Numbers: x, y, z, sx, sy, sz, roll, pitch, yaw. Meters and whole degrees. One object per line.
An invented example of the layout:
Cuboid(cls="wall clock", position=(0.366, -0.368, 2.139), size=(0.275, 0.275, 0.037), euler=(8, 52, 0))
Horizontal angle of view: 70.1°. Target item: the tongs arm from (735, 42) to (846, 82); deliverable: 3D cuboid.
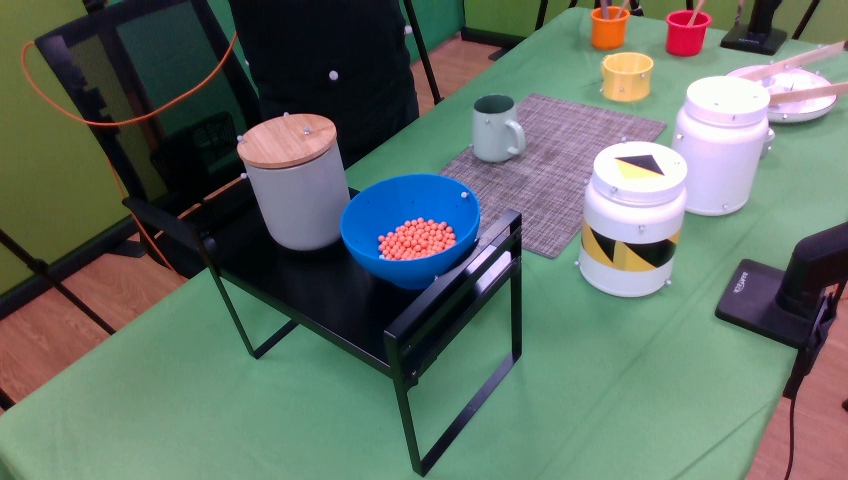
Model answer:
Cuboid(cls="tongs arm", position=(0.708, -0.331, 1.193), size=(0.386, 0.026, 0.050), euler=(-18, 45, -15))

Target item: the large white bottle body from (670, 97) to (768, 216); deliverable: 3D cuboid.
Cuboid(cls="large white bottle body", position=(0.458, -0.146, 0.952), size=(0.130, 0.185, 0.130), euler=(-4, 40, 4))

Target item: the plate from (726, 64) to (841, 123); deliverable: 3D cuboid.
Cuboid(cls="plate", position=(0.694, -0.282, 1.189), size=(0.207, 0.039, 0.206), euler=(-4, 40, 4))

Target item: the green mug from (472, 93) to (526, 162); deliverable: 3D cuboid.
Cuboid(cls="green mug", position=(0.144, -0.202, 1.122), size=(0.093, 0.105, 0.124), euler=(-29, 45, -23))

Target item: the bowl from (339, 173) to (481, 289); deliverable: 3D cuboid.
Cuboid(cls="bowl", position=(-0.011, 0.001, 0.660), size=(0.151, 0.077, 0.150), euler=(-5, 41, 5))

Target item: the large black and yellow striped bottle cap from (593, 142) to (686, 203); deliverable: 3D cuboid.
Cuboid(cls="large black and yellow striped bottle cap", position=(0.280, -0.090, 0.786), size=(0.115, 0.019, 0.114), euler=(-5, 41, 5))

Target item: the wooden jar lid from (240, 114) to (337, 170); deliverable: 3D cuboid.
Cuboid(cls="wooden jar lid", position=(-0.149, -0.106, 0.673), size=(0.108, 0.021, 0.108), euler=(-6, 39, 5))

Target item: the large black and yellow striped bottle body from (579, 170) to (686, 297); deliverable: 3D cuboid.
Cuboid(cls="large black and yellow striped bottle body", position=(0.287, -0.027, 0.842), size=(0.131, 0.185, 0.130), euler=(-4, 41, 4))

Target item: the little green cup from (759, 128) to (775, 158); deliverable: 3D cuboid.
Cuboid(cls="little green cup", position=(0.588, -0.175, 1.080), size=(0.061, 0.039, 0.061), euler=(-5, 40, 5))

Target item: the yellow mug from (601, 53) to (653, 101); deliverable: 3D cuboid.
Cuboid(cls="yellow mug", position=(0.423, -0.354, 1.292), size=(0.100, 0.064, 0.129), euler=(-23, 42, -16))

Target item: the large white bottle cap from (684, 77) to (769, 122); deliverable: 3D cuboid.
Cuboid(cls="large white bottle cap", position=(0.448, -0.209, 0.898), size=(0.115, 0.018, 0.114), euler=(-4, 40, 4))

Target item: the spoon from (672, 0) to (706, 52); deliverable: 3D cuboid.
Cuboid(cls="spoon", position=(0.629, -0.520, 1.394), size=(0.041, 0.022, 0.193), euler=(29, 97, 34))

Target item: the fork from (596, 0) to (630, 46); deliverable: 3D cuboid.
Cuboid(cls="fork", position=(0.481, -0.556, 1.453), size=(0.028, 0.019, 0.207), euler=(40, 103, 39))

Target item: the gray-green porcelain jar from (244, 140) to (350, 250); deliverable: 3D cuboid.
Cuboid(cls="gray-green porcelain jar", position=(-0.144, -0.060, 0.714), size=(0.106, 0.127, 0.105), euler=(-4, 41, 4))

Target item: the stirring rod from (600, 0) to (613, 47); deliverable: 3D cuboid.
Cuboid(cls="stirring rod", position=(0.439, -0.551, 1.463), size=(0.014, 0.006, 0.175), euler=(-7, 83, 4))

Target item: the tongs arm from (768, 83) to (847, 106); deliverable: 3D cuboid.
Cuboid(cls="tongs arm", position=(0.734, -0.280, 1.133), size=(0.388, 0.028, 0.028), euler=(-9, 47, -5))
